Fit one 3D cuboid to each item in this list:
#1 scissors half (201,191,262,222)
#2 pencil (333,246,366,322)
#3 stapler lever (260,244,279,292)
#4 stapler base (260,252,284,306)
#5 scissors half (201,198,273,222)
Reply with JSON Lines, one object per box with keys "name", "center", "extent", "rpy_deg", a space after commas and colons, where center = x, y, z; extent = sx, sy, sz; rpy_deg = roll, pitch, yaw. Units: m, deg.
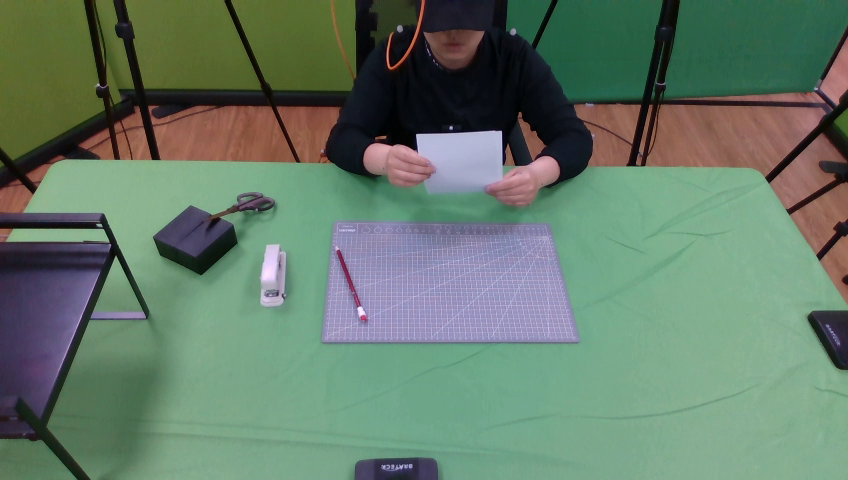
{"name": "scissors half", "center": [-0.381, -0.066, 1.198], "extent": [0.040, 0.013, 0.175], "rpy_deg": [24, 28, 10]}
{"name": "pencil", "center": [-0.140, 0.076, 1.117], "extent": [0.012, 0.012, 0.192], "rpy_deg": [-14, 48, -17]}
{"name": "stapler lever", "center": [-0.279, 0.045, 1.096], "extent": [0.027, 0.040, 0.117], "rpy_deg": [-2, 44, -9]}
{"name": "stapler base", "center": [-0.279, 0.064, 1.113], "extent": [0.041, 0.024, 0.129], "rpy_deg": [-2, 44, -9]}
{"name": "scissors half", "center": [-0.364, -0.056, 1.192], "extent": [0.040, 0.013, 0.175], "rpy_deg": [38, 32, 22]}
